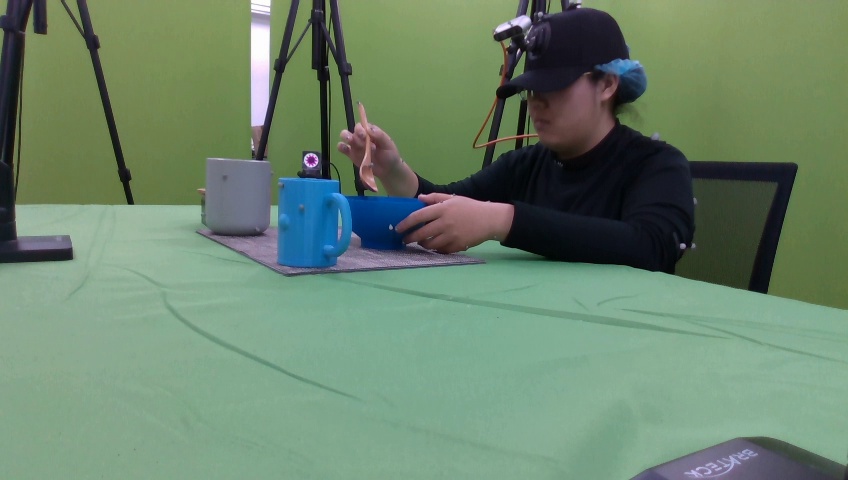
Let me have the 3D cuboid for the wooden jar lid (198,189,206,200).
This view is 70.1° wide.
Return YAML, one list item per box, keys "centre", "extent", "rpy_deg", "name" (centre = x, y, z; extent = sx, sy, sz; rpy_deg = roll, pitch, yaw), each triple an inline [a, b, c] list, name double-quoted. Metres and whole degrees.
- centre: [-0.382, -0.088, 1.175]
  extent: [0.108, 0.020, 0.108]
  rpy_deg: [3, 8, 0]
  name: "wooden jar lid"

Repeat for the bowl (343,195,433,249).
- centre: [-0.063, -0.029, 0.962]
  extent: [0.151, 0.077, 0.151]
  rpy_deg: [3, 7, 0]
  name: "bowl"

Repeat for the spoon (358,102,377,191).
- centre: [-0.099, -0.162, 1.030]
  extent: [0.021, 0.193, 0.042]
  rpy_deg: [-22, -33, 28]
  name: "spoon"

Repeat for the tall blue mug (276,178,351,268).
- centre: [-0.134, -0.022, 0.766]
  extent: [0.107, 0.108, 0.078]
  rpy_deg: [4, 6, 12]
  name: "tall blue mug"

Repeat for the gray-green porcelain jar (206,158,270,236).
- centre: [-0.316, -0.074, 1.031]
  extent: [0.106, 0.126, 0.106]
  rpy_deg: [3, 7, 0]
  name: "gray-green porcelain jar"
